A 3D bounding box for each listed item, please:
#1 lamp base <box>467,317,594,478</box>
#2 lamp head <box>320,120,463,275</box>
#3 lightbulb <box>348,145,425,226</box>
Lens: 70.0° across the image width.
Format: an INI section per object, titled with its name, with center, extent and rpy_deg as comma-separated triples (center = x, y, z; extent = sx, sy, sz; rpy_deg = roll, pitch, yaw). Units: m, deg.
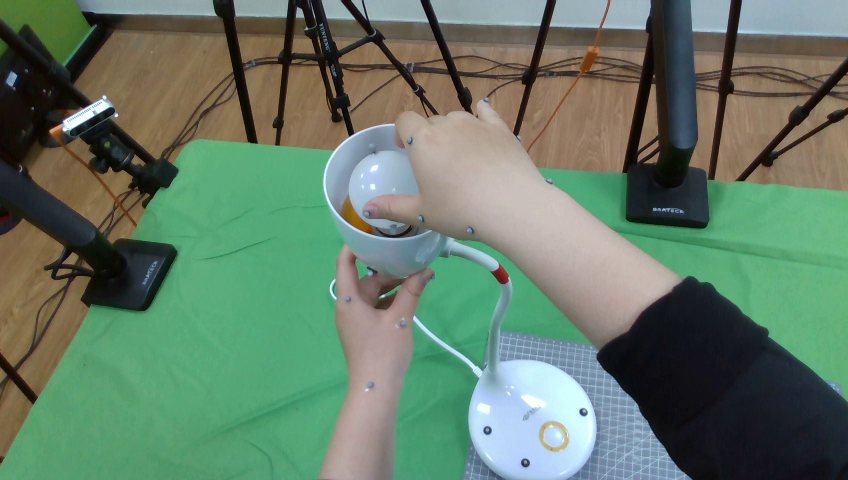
[lamp base]
center = 0.116, 0.171, 0.714
extent = 0.177, 0.182, 0.160
rpy_deg = 30, 64, 28
[lamp head]
center = -0.021, -0.021, 0.512
extent = 0.112, 0.124, 0.111
rpy_deg = -2, 59, 4
[lightbulb]
center = -0.028, -0.035, 0.491
extent = 0.059, 0.108, 0.059
rpy_deg = -1, 70, 3
